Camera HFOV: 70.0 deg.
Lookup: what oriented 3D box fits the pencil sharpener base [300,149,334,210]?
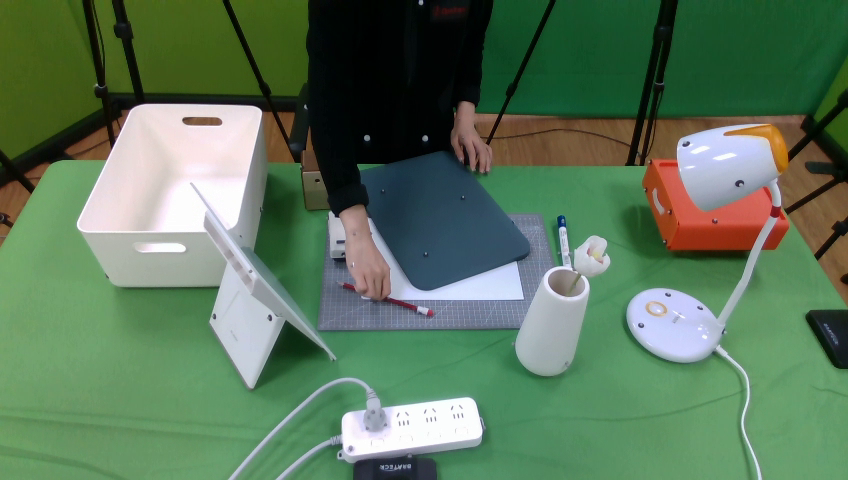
[{"bbox_3d":[-0.219,-0.125,1.242,0.061,0.107,0.076,-5,46,-8],"label":"pencil sharpener base"}]

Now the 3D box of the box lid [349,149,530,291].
[{"bbox_3d":[0.025,-0.056,1.259,0.263,0.015,0.369,-18,49,-20],"label":"box lid"}]

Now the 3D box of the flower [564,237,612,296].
[{"bbox_3d":[0.206,0.088,0.893,0.038,0.363,0.044,-17,67,-9],"label":"flower"}]

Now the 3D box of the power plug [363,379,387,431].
[{"bbox_3d":[-0.072,0.252,0.910,0.035,0.053,0.072,3,45,-1],"label":"power plug"}]

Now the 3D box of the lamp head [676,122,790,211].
[{"bbox_3d":[0.423,-0.104,0.819,0.122,0.113,0.112,-13,33,40],"label":"lamp head"}]

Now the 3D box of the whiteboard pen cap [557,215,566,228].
[{"bbox_3d":[0.284,-0.034,1.246,0.018,0.018,0.033,4,52,-1],"label":"whiteboard pen cap"}]

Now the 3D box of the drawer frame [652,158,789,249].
[{"bbox_3d":[0.571,-0.075,1.214,0.214,0.083,0.200,0,45,-1],"label":"drawer frame"}]

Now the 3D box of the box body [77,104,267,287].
[{"bbox_3d":[-0.446,-0.088,1.150,0.254,0.161,0.361,-1,46,-5],"label":"box body"}]

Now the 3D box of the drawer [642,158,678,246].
[{"bbox_3d":[0.566,-0.076,1.211,0.212,0.073,0.193,2,45,-2],"label":"drawer"}]

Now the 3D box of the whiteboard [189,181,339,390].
[{"bbox_3d":[-0.292,0.096,0.929,0.144,0.307,0.216,-37,57,-10],"label":"whiteboard"}]

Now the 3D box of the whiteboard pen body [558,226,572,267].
[{"bbox_3d":[0.280,0.010,1.208,0.017,0.017,0.140,3,50,-1],"label":"whiteboard pen body"}]

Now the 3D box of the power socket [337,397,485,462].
[{"bbox_3d":[-0.018,0.285,0.915,0.227,0.033,0.071,-5,46,-8],"label":"power socket"}]

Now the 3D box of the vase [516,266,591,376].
[{"bbox_3d":[0.208,0.132,0.964,0.098,0.201,0.097,3,46,-3],"label":"vase"}]

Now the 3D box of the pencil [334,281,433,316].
[{"bbox_3d":[-0.075,0.103,1.095,0.194,0.012,0.012,17,47,12],"label":"pencil"}]

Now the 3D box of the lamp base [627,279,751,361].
[{"bbox_3d":[0.459,0.100,1.027,0.178,0.181,0.160,27,51,17],"label":"lamp base"}]

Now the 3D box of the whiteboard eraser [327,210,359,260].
[{"bbox_3d":[-0.158,-0.009,1.177,0.055,0.042,0.112,-6,47,-7],"label":"whiteboard eraser"}]

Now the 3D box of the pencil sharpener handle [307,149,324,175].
[{"bbox_3d":[-0.229,-0.170,1.267,0.036,0.068,0.030,4,45,-16],"label":"pencil sharpener handle"}]
